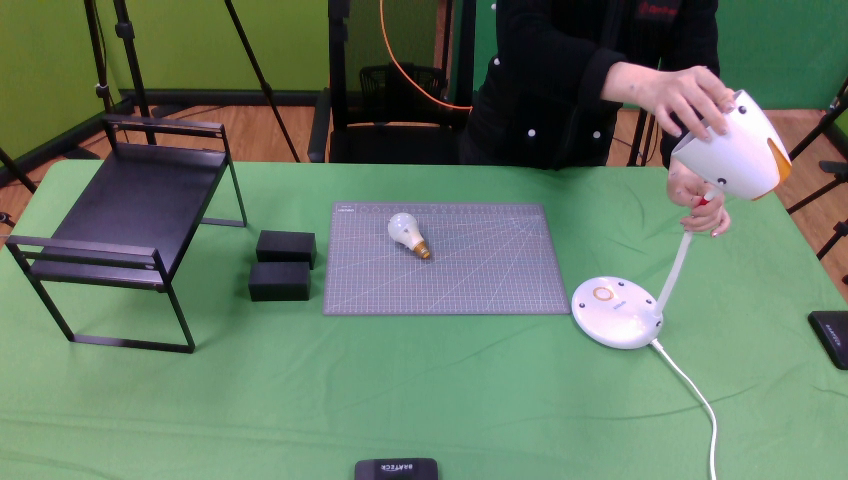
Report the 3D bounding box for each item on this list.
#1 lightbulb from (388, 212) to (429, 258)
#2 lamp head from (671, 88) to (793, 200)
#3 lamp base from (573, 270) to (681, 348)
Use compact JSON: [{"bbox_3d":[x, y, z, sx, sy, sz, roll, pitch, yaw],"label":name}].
[{"bbox_3d":[-0.027,-0.007,1.179,0.059,0.060,0.107,-31,71,-29],"label":"lightbulb"},{"bbox_3d":[0.391,-0.107,0.759,0.123,0.112,0.112,48,55,-2],"label":"lamp head"},{"bbox_3d":[0.361,0.081,1.034,0.160,0.181,0.178,-34,59,-30],"label":"lamp base"}]
